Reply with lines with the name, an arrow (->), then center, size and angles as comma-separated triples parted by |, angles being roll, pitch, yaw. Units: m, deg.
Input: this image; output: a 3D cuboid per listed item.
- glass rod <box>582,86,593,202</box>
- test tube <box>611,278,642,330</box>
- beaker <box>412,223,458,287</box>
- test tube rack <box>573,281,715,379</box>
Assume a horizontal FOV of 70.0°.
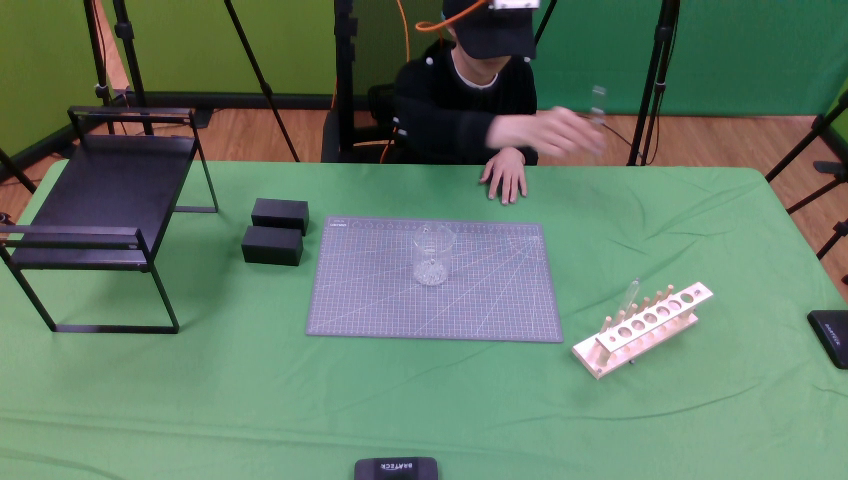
glass rod -> 0.252, -0.142, 0.934 | 0.008, 0.201, 0.008 | -5, 37, 4
test tube -> 0.332, 0.113, 0.999 | 0.017, 0.151, 0.017 | 1, 48, -1
beaker -> 0.018, 0.030, 1.109 | 0.084, 0.101, 0.073 | -10, 48, -14
test tube rack -> 0.378, 0.140, 1.038 | 0.242, 0.085, 0.066 | -22, 51, -23
